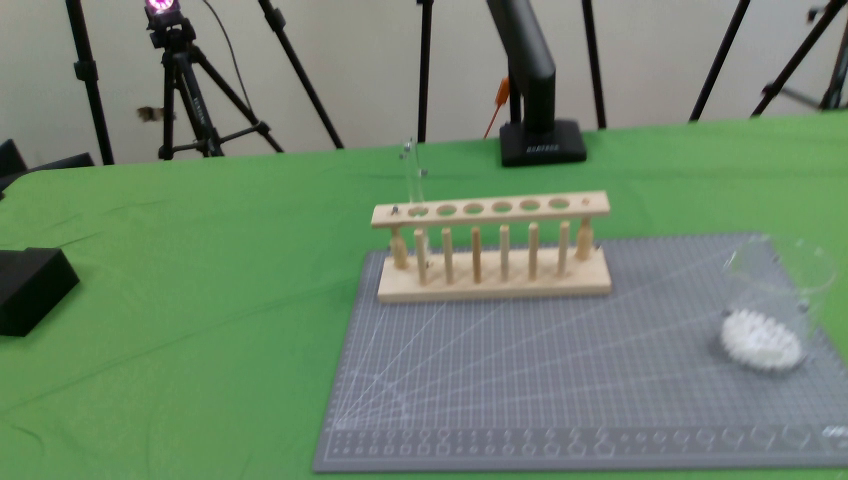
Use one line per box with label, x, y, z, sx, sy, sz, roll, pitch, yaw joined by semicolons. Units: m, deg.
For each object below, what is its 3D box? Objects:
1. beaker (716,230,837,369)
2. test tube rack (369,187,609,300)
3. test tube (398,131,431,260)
beaker;0.290;0.054;0.515;0.084;0.101;0.073;-3;36;9
test tube rack;0.067;0.005;0.637;0.242;0.086;0.066;-3;36;7
test tube;-0.008;-0.042;0.632;0.017;0.151;0.017;-6;34;4
